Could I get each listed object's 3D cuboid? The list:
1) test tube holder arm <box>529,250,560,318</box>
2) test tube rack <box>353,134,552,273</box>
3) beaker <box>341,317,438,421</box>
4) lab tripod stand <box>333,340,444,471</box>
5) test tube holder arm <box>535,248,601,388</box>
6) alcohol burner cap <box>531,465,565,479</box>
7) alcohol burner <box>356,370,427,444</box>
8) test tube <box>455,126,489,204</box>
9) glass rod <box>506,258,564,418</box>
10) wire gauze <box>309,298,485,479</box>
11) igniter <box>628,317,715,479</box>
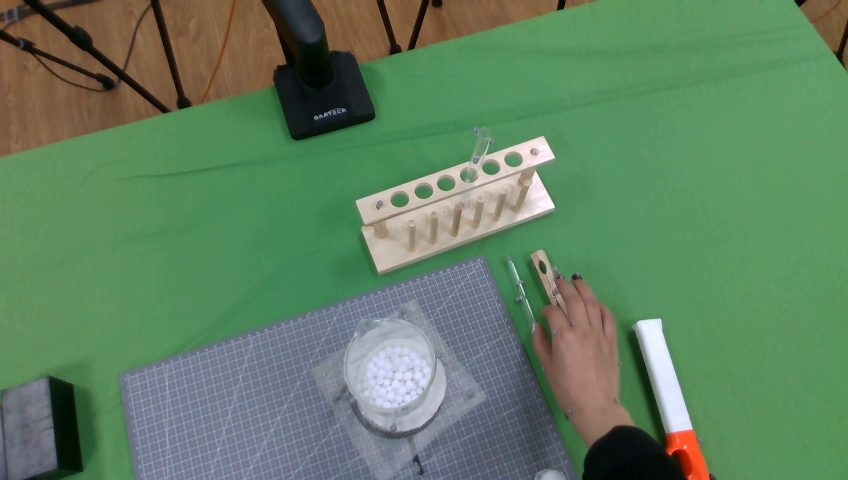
[{"bbox_3d":[0.150,0.053,0.741,0.010,0.015,0.087,-30,68,23],"label":"test tube holder arm"},{"bbox_3d":[0.041,-0.043,0.742,0.242,0.086,0.066,-20,68,-9],"label":"test tube rack"},{"bbox_3d":[-0.029,0.113,0.522,0.074,0.101,0.083,-33,70,-12],"label":"beaker"},{"bbox_3d":[-0.031,0.163,0.624,0.148,0.132,0.147,0,68,1],"label":"lab tripod stand"},{"bbox_3d":[0.170,0.090,0.723,0.013,0.015,0.177,-30,68,23],"label":"test tube holder arm"},{"bbox_3d":[0.133,0.253,0.639,0.034,0.048,0.033,0,66,0],"label":"alcohol burner cap"},{"bbox_3d":[-0.036,0.171,0.632,0.078,0.120,0.077,0,65,1],"label":"alcohol burner"},{"bbox_3d":[0.054,-0.083,0.706,0.017,0.151,0.017,3,64,-5],"label":"test tube"},{"bbox_3d":[0.131,0.112,0.719,0.008,0.008,0.198,-14,70,-7],"label":"glass rod"},{"bbox_3d":[-0.026,0.134,0.565,0.121,0.011,0.124,-34,73,-11],"label":"wire gauze"},{"bbox_3d":[0.278,0.219,0.667,0.057,0.025,0.274,-4,67,-13],"label":"igniter"}]
